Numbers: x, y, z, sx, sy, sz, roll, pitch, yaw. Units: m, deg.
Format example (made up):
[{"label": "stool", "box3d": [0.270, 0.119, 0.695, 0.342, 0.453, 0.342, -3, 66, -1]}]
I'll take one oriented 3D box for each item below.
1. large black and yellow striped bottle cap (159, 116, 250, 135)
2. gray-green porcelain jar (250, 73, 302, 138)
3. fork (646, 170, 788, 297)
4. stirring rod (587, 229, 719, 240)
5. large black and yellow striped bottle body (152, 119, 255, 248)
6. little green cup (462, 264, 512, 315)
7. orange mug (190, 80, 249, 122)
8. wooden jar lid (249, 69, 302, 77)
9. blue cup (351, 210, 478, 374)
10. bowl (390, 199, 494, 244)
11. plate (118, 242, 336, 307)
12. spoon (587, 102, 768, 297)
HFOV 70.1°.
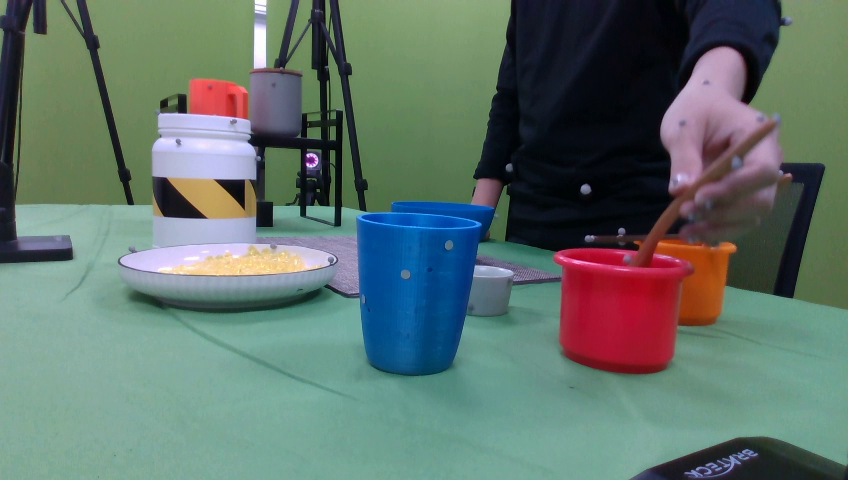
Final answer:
[{"label": "large black and yellow striped bottle cap", "box3d": [-0.292, -0.153, 0.810, 0.115, 0.019, 0.115, 3, 8, 0]}, {"label": "gray-green porcelain jar", "box3d": [-0.312, -0.280, 1.270, 0.106, 0.126, 0.106, 3, 8, 0]}, {"label": "fork", "box3d": [0.256, 0.004, 0.543, 0.028, 0.018, 0.207, 2, -36, -10]}, {"label": "stirring rod", "box3d": [0.226, -0.006, 0.587, 0.177, 0.006, 0.014, -2, 10, -29]}, {"label": "large black and yellow striped bottle body", "box3d": [-0.296, -0.071, 0.819, 0.131, 0.184, 0.130, 2, 7, 0]}, {"label": "little green cup", "box3d": [0.053, 0.047, 0.580, 0.061, 0.038, 0.061, 3, 8, 0]}, {"label": "orange mug", "box3d": [-0.393, -0.257, 1.173, 0.126, 0.100, 0.084, 1, 6, 25]}, {"label": "wooden jar lid", "box3d": [-0.309, -0.341, 1.262, 0.108, 0.020, 0.108, 2, 8, 0]}, {"label": "blue cup", "box3d": [-0.009, 0.034, 0.414, 0.093, 0.100, 0.092, 4, 8, 0]}, {"label": "bowl", "box3d": [0.024, -0.015, 0.872, 0.151, 0.077, 0.151, 3, 7, 0]}, {"label": "plate", "box3d": [-0.194, 0.033, 0.615, 0.209, 0.038, 0.209, 2, 7, 0]}, {"label": "spoon", "box3d": [0.163, -0.016, 0.410, 0.042, 0.193, 0.021, -17, 55, -31]}]
